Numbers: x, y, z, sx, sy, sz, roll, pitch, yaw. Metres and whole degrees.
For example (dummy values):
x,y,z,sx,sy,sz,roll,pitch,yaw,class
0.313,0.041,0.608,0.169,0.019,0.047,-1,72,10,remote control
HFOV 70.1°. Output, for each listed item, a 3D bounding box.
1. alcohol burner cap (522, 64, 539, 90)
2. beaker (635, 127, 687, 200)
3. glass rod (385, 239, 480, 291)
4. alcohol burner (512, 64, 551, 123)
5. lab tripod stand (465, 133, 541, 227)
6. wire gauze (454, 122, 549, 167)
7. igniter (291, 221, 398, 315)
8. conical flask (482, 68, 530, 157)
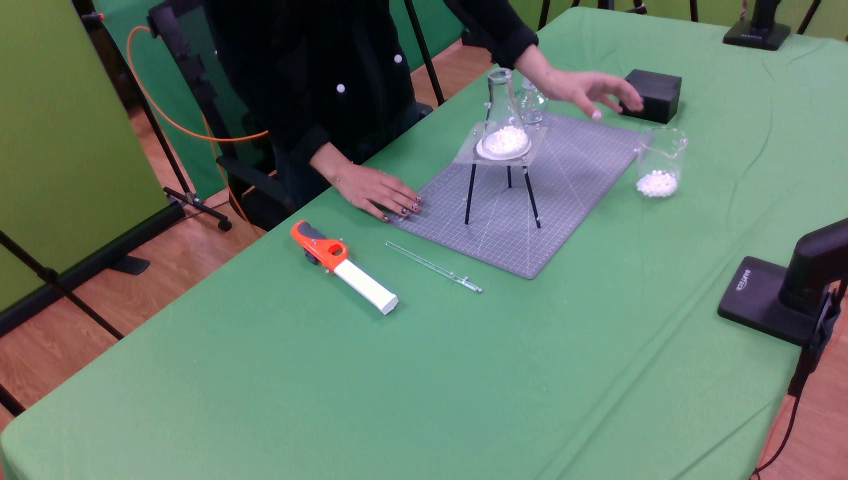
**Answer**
x,y,z,sx,sy,sz,roll,pitch,yaw,class
0.210,-0.325,1.195,0.034,0.048,0.033,-6,46,7,alcohol burner cap
0.388,-0.122,0.994,0.074,0.101,0.083,-8,40,2,beaker
0.009,0.036,0.949,0.198,0.008,0.008,27,52,34,glass rod
0.215,-0.298,1.220,0.078,0.120,0.077,-7,41,7,alcohol burner
0.129,-0.099,0.985,0.148,0.132,0.147,-6,38,6,lab tripod stand
0.122,-0.149,0.943,0.121,0.011,0.125,7,44,22,wire gauze
-0.136,0.037,0.962,0.057,0.025,0.274,-40,48,-18,igniter
0.118,-0.192,0.902,0.075,0.122,0.075,-7,39,6,conical flask
